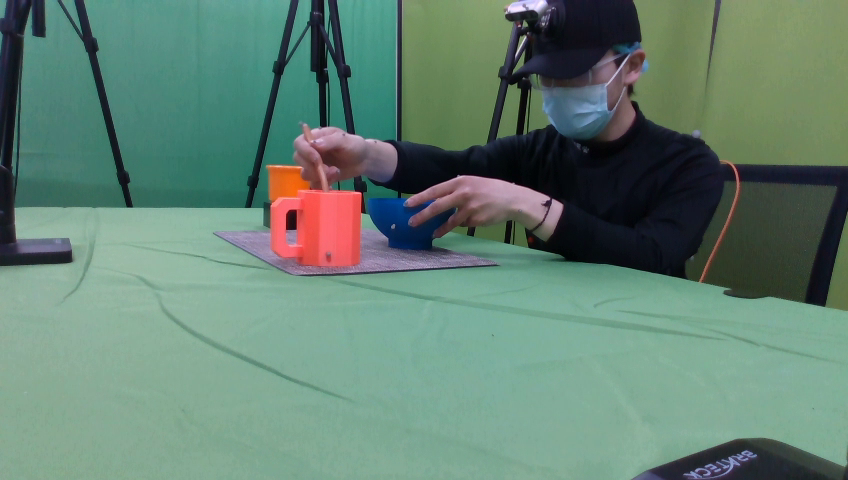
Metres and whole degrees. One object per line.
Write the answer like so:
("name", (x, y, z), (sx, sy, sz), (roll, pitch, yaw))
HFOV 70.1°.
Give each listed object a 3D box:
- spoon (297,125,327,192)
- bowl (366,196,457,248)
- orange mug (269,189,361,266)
("spoon", (-0.142, -0.077, 0.825), (0.021, 0.193, 0.042), (-20, -19, 5))
("bowl", (-0.022, -0.030, 1.001), (0.151, 0.077, 0.151), (2, 7, 0))
("orange mug", (-0.142, -0.019, 0.796), (0.127, 0.100, 0.083), (3, 5, -39))
